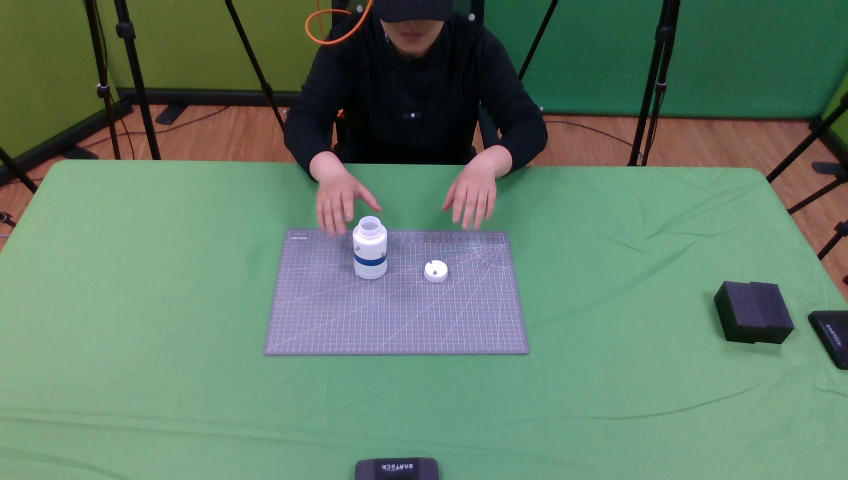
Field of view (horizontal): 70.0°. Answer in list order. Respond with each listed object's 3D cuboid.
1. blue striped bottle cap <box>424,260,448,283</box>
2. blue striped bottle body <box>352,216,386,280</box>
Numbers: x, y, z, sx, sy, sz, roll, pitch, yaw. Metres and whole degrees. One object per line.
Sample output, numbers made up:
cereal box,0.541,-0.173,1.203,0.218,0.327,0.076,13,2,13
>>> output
blue striped bottle cap,0.023,0.060,1.145,0.044,0.021,0.044,2,47,-1
blue striped bottle body,-0.100,0.012,1.107,0.063,0.121,0.062,2,46,-2
